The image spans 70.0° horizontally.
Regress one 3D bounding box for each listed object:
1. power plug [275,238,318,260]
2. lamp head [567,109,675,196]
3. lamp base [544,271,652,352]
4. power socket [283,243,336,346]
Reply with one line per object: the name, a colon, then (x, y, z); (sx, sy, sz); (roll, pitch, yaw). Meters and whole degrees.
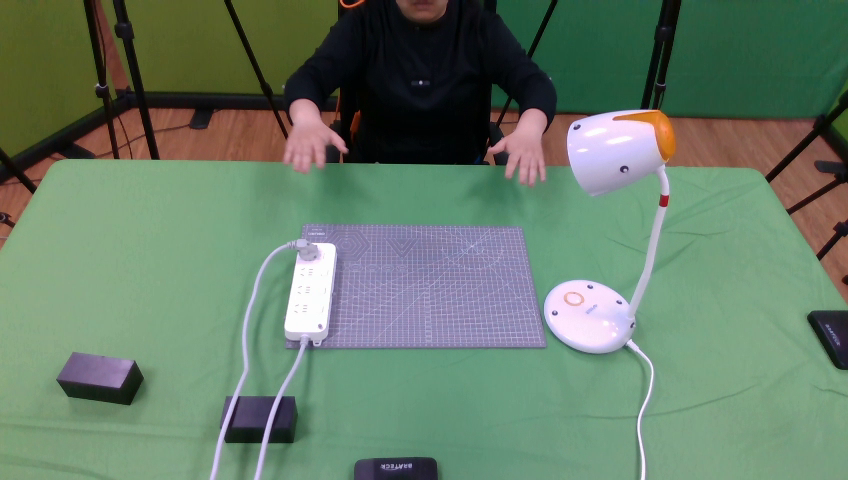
power plug: (-0.232, 0.018, 1.119); (0.072, 0.053, 0.035); (8, 46, 6)
lamp head: (0.272, -0.123, 0.818); (0.122, 0.113, 0.112); (-9, 35, 37)
lamp base: (0.309, 0.086, 1.029); (0.178, 0.181, 0.160); (32, 52, 21)
power socket: (-0.203, 0.088, 1.086); (0.072, 0.033, 0.225); (1, 46, -2)
